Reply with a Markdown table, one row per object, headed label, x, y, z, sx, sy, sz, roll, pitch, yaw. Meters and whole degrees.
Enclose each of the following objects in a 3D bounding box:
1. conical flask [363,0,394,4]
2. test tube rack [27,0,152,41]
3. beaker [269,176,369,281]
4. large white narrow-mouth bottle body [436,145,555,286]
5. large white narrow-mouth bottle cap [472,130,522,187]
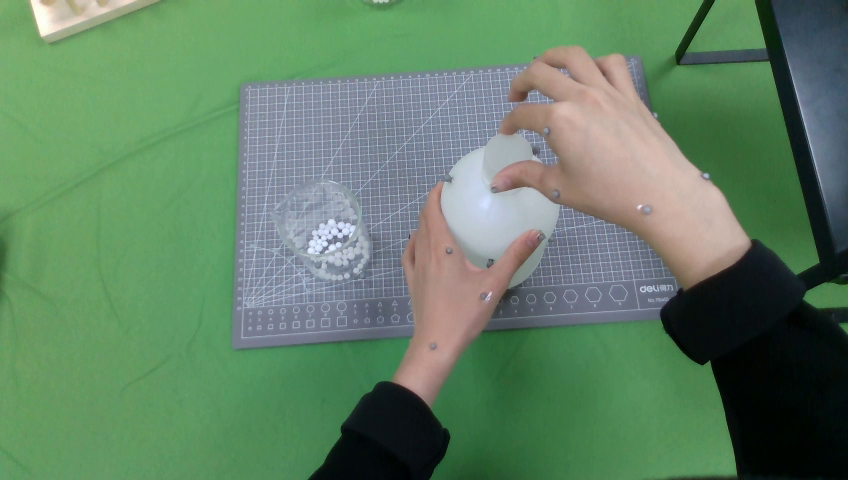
| label | x | y | z | sx | sy | sz | roll | pitch | yaw |
| --- | --- | --- | --- | --- | --- | --- | --- | --- | --- |
| conical flask | -0.055 | -0.329 | 0.668 | 0.075 | 0.122 | 0.075 | -1 | 71 | 2 |
| test tube rack | -0.351 | -0.323 | 0.693 | 0.242 | 0.086 | 0.066 | -24 | 73 | -6 |
| beaker | -0.094 | -0.006 | 0.574 | 0.084 | 0.101 | 0.073 | 7 | 71 | 5 |
| large white narrow-mouth bottle body | 0.061 | -0.028 | 0.528 | 0.102 | 0.196 | 0.101 | -1 | 72 | 4 |
| large white narrow-mouth bottle cap | 0.052 | -0.058 | 0.436 | 0.038 | 0.024 | 0.037 | -1 | 73 | 4 |
